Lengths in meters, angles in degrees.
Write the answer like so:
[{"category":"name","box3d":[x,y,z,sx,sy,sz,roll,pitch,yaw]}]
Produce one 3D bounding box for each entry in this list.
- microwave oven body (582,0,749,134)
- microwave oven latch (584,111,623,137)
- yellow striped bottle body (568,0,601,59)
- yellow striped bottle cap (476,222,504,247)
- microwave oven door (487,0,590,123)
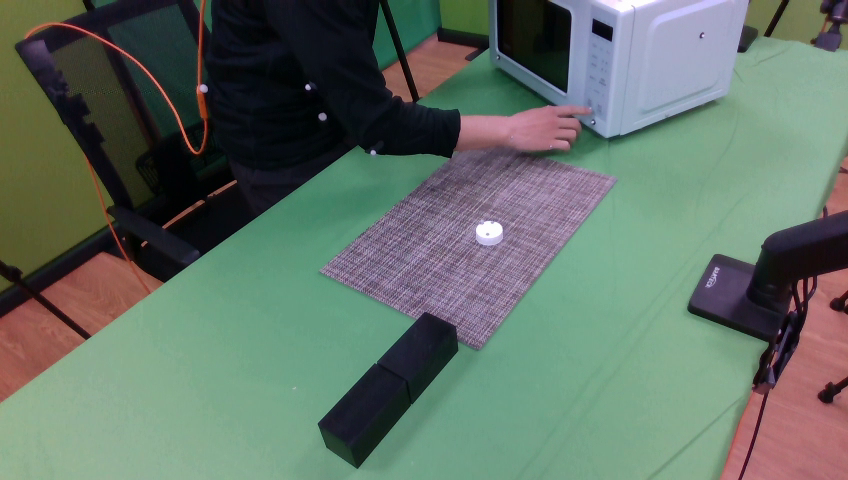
[{"category":"microwave oven body","box3d":[0.382,-0.444,1.246,0.327,0.261,0.437,-22,42,-16]},{"category":"microwave oven latch","box3d":[0.337,-0.222,1.142,0.030,0.029,0.078,-21,42,-14]},{"category":"yellow striped bottle body","box3d":[0.337,-0.448,1.268,0.063,0.121,0.062,-5,44,5]},{"category":"yellow striped bottle cap","box3d":[0.105,-0.010,0.966,0.044,0.019,0.044,-4,39,3]},{"category":"microwave oven door","box3d":[0.231,-0.419,1.231,0.039,0.245,0.352,-22,43,-16]}]
